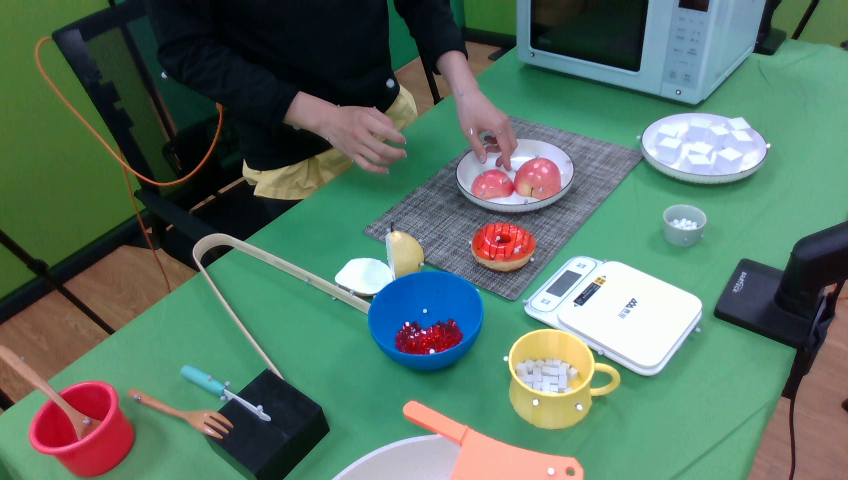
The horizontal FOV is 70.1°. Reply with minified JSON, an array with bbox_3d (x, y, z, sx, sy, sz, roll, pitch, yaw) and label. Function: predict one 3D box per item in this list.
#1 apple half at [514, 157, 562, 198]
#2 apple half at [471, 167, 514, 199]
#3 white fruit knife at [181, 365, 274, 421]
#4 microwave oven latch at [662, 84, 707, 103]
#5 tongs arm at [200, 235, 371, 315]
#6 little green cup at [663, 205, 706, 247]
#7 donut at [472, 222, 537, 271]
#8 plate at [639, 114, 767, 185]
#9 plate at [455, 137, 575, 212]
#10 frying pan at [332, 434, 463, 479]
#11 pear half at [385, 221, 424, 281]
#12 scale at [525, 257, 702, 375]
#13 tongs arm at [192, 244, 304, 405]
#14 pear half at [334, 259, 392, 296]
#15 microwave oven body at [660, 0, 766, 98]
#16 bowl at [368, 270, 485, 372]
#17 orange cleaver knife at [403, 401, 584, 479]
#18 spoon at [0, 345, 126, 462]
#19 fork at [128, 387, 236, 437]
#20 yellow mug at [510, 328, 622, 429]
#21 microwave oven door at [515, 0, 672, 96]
[{"bbox_3d":[0.196,-0.113,1.032,0.080,0.053,0.075,16,43,30],"label":"apple half"},{"bbox_3d":[0.118,-0.106,1.053,0.081,0.033,0.081,-2,45,3],"label":"apple half"},{"bbox_3d":[-0.245,0.187,0.747,0.205,0.027,0.016,9,41,40],"label":"white fruit knife"},{"bbox_3d":[0.517,-0.296,1.204,0.078,0.029,0.030,27,52,35],"label":"microwave oven latch"},{"bbox_3d":[-0.209,0.062,0.924,0.381,0.027,0.051,23,54,32],"label":"tongs arm"},{"bbox_3d":[0.396,-0.020,0.926,0.061,0.039,0.061,-4,40,4],"label":"little green cup"},{"bbox_3d":[0.123,0.008,0.923,0.099,0.048,0.098,-3,38,3],"label":"donut"},{"bbox_3d":[0.489,-0.157,1.074,0.207,0.039,0.206,-4,40,4],"label":"plate"},{"bbox_3d":[0.159,-0.111,1.063,0.209,0.038,0.208,-4,41,4],"label":"plate"},{"bbox_3d":[-0.089,0.306,0.564,0.487,0.103,0.306,10,41,7],"label":"frying pan"},{"bbox_3d":[-0.030,0.013,0.897,0.056,0.110,0.075,-17,45,-12],"label":"pear half"},{"bbox_3d":[0.254,0.091,0.821,0.199,0.032,0.149,28,51,35],"label":"scale"},{"bbox_3d":[-0.268,0.111,0.884,0.028,0.028,0.384,-36,47,-17],"label":"tongs arm"},{"bbox_3d":[-0.093,0.062,0.906,0.088,0.031,0.070,-10,43,-23],"label":"pear half"},{"bbox_3d":[0.472,-0.513,1.317,0.438,0.261,0.327,26,51,34],"label":"microwave oven body"},{"bbox_3d":[0.007,0.119,0.791,0.151,0.077,0.150,-5,40,4],"label":"bowl"},{"bbox_3d":[0.062,0.222,0.609,0.210,0.012,0.077,15,49,25],"label":"orange cleaver knife"},{"bbox_3d":[-0.434,0.192,0.720,0.194,0.021,0.042,47,53,-7],"label":"spoon"},{"bbox_3d":[-0.305,0.207,0.744,0.206,0.019,0.028,3,40,36],"label":"fork"},{"bbox_3d":[0.168,0.164,0.721,0.130,0.064,0.099,0,40,8],"label":"yellow mug"},{"bbox_3d":[0.343,-0.454,1.259,0.353,0.245,0.039,26,51,33],"label":"microwave oven door"}]
